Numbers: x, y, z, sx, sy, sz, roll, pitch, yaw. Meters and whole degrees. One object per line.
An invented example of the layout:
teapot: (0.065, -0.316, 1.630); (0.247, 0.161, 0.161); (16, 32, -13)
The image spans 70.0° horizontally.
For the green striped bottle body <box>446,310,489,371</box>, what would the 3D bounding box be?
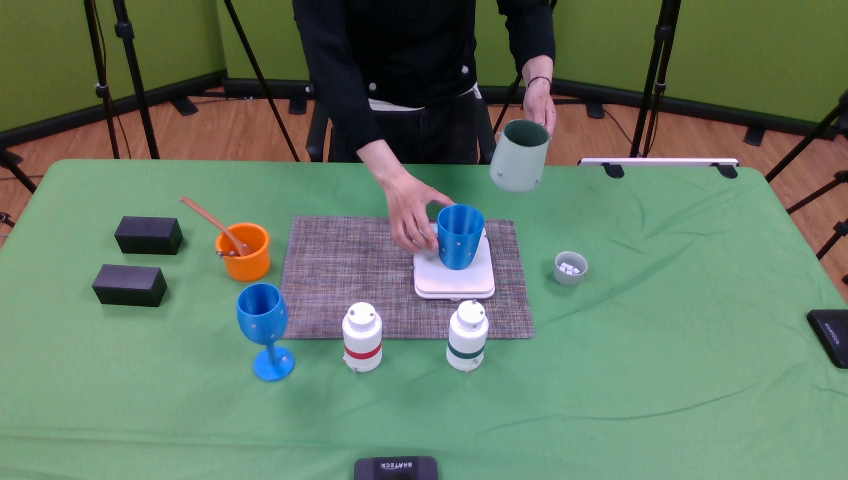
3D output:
green striped bottle body: (0.070, 0.155, 0.984); (0.063, 0.120, 0.063); (2, 46, -2)

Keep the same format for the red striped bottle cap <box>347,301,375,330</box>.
red striped bottle cap: (-0.097, 0.116, 0.934); (0.044, 0.018, 0.044); (2, 49, -2)

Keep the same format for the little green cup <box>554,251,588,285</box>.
little green cup: (0.277, 0.055, 1.152); (0.061, 0.039, 0.061); (1, 46, -1)

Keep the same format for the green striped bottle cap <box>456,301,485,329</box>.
green striped bottle cap: (0.073, 0.116, 0.943); (0.044, 0.020, 0.044); (2, 46, -2)

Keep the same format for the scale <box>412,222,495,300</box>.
scale: (0.052, 0.031, 1.158); (0.149, 0.032, 0.199); (1, 46, -4)

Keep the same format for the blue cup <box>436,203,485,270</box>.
blue cup: (0.061, -0.001, 1.098); (0.093, 0.101, 0.092); (2, 43, -2)

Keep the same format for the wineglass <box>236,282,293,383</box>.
wineglass: (-0.243, 0.143, 0.934); (0.074, 0.173, 0.073); (2, 46, -2)

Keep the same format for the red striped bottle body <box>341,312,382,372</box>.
red striped bottle body: (-0.100, 0.154, 0.972); (0.063, 0.120, 0.062); (2, 46, -2)

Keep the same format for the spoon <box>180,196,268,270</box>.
spoon: (-0.360, -0.014, 1.094); (0.021, 0.194, 0.041); (-27, 26, 31)

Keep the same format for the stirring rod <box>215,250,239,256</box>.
stirring rod: (-0.339, 0.024, 1.059); (0.014, 0.176, 0.006); (18, 86, -6)

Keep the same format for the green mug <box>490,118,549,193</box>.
green mug: (0.172, -0.153, 1.049); (0.092, 0.105, 0.125); (26, 49, 17)
